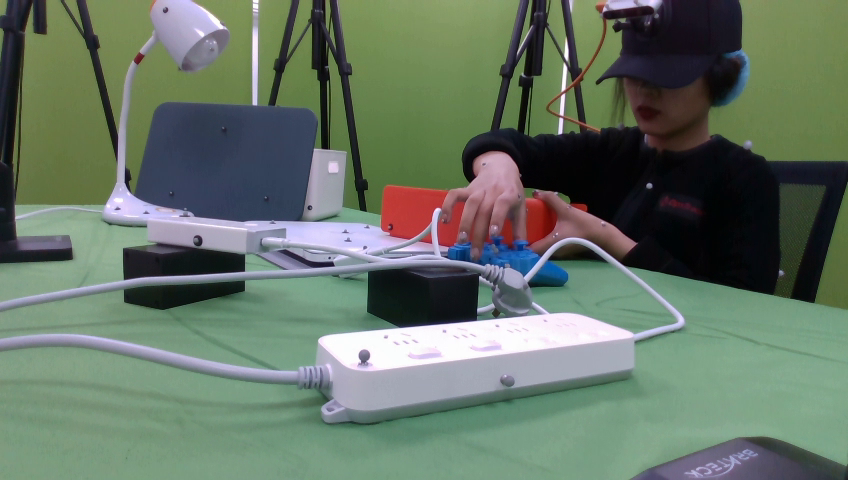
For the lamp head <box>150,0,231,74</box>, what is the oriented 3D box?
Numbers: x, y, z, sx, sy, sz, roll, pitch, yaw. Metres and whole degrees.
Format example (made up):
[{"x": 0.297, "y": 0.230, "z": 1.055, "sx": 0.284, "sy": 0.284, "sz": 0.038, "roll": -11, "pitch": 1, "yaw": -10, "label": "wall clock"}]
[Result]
[{"x": -0.432, "y": -0.375, "z": 1.086, "sx": 0.123, "sy": 0.112, "sz": 0.112, "roll": 42, "pitch": 8, "yaw": -3, "label": "lamp head"}]

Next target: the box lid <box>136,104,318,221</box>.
[{"x": -0.411, "y": -0.162, "z": 1.266, "sx": 0.371, "sy": 0.263, "sz": 0.015, "roll": 3, "pitch": -15, "yaw": 9, "label": "box lid"}]

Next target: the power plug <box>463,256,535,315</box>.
[{"x": 0.064, "y": 0.039, "z": 0.530, "sx": 0.072, "sy": 0.052, "sz": 0.035, "roll": 31, "pitch": 43, "yaw": 7, "label": "power plug"}]

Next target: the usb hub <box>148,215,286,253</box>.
[{"x": -0.197, "y": -0.006, "z": 0.575, "sx": 0.125, "sy": 0.025, "sz": 0.050, "roll": 6, "pitch": 7, "yaw": 22, "label": "usb hub"}]

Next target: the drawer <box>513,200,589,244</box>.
[{"x": 0.137, "y": -0.036, "z": 1.017, "sx": 0.213, "sy": 0.073, "sz": 0.193, "roll": -2, "pitch": 8, "yaw": -45, "label": "drawer"}]

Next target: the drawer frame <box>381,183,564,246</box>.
[{"x": 0.078, "y": -0.040, "z": 0.958, "sx": 0.200, "sy": 0.082, "sz": 0.215, "roll": 10, "pitch": 7, "yaw": 43, "label": "drawer frame"}]

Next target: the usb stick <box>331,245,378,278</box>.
[{"x": -0.085, "y": 0.026, "z": 0.701, "sx": 0.059, "sy": 0.027, "sz": 0.021, "roll": -18, "pitch": 18, "yaw": 27, "label": "usb stick"}]

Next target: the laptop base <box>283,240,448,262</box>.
[{"x": -0.125, "y": 0.002, "z": 0.945, "sx": 0.237, "sy": 0.023, "sz": 0.352, "roll": 1, "pitch": 6, "yaw": -31, "label": "laptop base"}]

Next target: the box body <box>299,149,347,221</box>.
[{"x": -0.384, "y": -0.137, "z": 1.407, "sx": 0.364, "sy": 0.160, "sz": 0.254, "roll": 3, "pitch": 8, "yaw": 7, "label": "box body"}]

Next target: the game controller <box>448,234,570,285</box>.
[{"x": 0.099, "y": 0.022, "z": 0.755, "sx": 0.097, "sy": 0.051, "sz": 0.154, "roll": -6, "pitch": 10, "yaw": -30, "label": "game controller"}]

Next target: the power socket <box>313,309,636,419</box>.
[{"x": 0.039, "y": 0.072, "z": 0.384, "sx": 0.228, "sy": 0.032, "sz": 0.072, "roll": -2, "pitch": 7, "yaw": -28, "label": "power socket"}]

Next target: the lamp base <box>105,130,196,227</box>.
[{"x": -0.532, "y": -0.120, "z": 1.153, "sx": 0.179, "sy": 0.180, "sz": 0.161, "roll": 1, "pitch": 7, "yaw": 8, "label": "lamp base"}]

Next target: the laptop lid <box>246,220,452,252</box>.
[{"x": -0.123, "y": -0.009, "z": 0.945, "sx": 0.243, "sy": 0.013, "sz": 0.355, "roll": 1, "pitch": 7, "yaw": -29, "label": "laptop lid"}]
